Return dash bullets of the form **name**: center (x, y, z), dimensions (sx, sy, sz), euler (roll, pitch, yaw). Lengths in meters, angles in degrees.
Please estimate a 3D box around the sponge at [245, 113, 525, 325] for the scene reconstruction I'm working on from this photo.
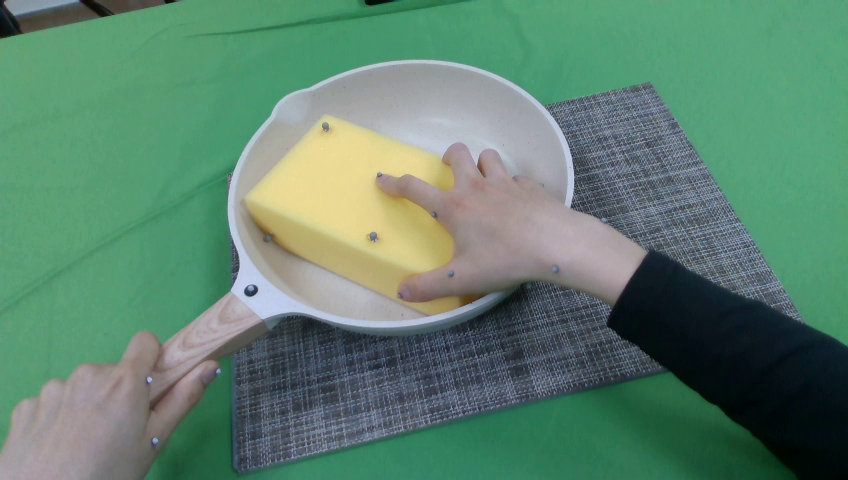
- **sponge**: center (-0.032, -0.025, 0.526), dimensions (0.205, 0.061, 0.118), euler (22, 59, 20)

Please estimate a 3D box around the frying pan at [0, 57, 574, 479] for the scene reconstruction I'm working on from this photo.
- **frying pan**: center (-0.091, 0.014, 0.486), dimensions (0.304, 0.103, 0.487), euler (36, 58, 27)
